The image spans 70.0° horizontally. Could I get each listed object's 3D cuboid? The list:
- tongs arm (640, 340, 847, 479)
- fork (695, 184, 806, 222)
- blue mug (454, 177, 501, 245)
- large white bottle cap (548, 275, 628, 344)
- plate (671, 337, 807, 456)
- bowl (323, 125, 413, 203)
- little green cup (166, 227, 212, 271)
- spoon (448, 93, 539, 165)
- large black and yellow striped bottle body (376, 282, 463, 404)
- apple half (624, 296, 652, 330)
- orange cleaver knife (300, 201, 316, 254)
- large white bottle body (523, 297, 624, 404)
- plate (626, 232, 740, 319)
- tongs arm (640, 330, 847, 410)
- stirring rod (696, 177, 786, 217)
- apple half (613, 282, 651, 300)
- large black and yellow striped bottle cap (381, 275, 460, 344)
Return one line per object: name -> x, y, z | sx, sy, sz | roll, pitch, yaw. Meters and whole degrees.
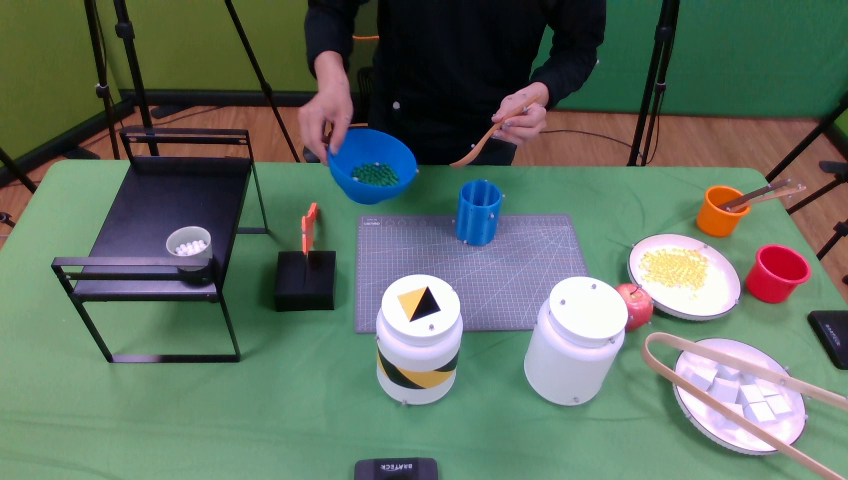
tongs arm -> 0.500, 0.277, 0.919 | 0.386, 0.028, 0.028 | 34, 59, 22
fork -> 0.658, -0.074, 1.230 | 0.207, 0.019, 0.028 | -24, 34, 36
blue mug -> 0.106, -0.067, 1.208 | 0.082, 0.106, 0.116 | 6, 46, 1
large white bottle cap -> 0.240, 0.100, 0.890 | 0.115, 0.018, 0.114 | 3, 47, -3
plate -> 0.504, 0.254, 0.984 | 0.208, 0.039, 0.206 | 2, 46, -2
bowl -> -0.100, -0.116, 1.018 | 0.152, 0.077, 0.150 | 11, 45, -11
little green cup -> -0.344, 0.014, 0.895 | 0.061, 0.039, 0.061 | 3, 46, -3
spoon -> 0.112, -0.180, 0.999 | 0.021, 0.194, 0.041 | 53, 31, 7
large black and yellow striped bottle body -> -0.010, 0.155, 0.937 | 0.131, 0.185, 0.130 | 2, 47, -2
apple half -> 0.368, 0.135, 1.060 | 0.081, 0.081, 0.032 | -11, 43, -15
orange cleaver knife -> -0.221, -0.027, 1.160 | 0.012, 0.077, 0.210 | -1, 15, -4
large white bottle body -> 0.235, 0.159, 0.952 | 0.131, 0.185, 0.130 | 2, 47, -2
plate -> 0.489, 0.070, 1.157 | 0.209, 0.038, 0.208 | 3, 46, -3
tongs arm -> 0.543, 0.225, 0.969 | 0.384, 0.026, 0.050 | 22, 52, 13
stirring rod -> 0.648, -0.087, 1.244 | 0.176, 0.006, 0.014 | -25, 50, 29
apple half -> 0.356, 0.109, 1.086 | 0.081, 0.075, 0.053 | -13, 44, -12
large black and yellow striped bottle cap -> -0.005, 0.099, 0.875 | 0.115, 0.019, 0.114 | 2, 45, -2
